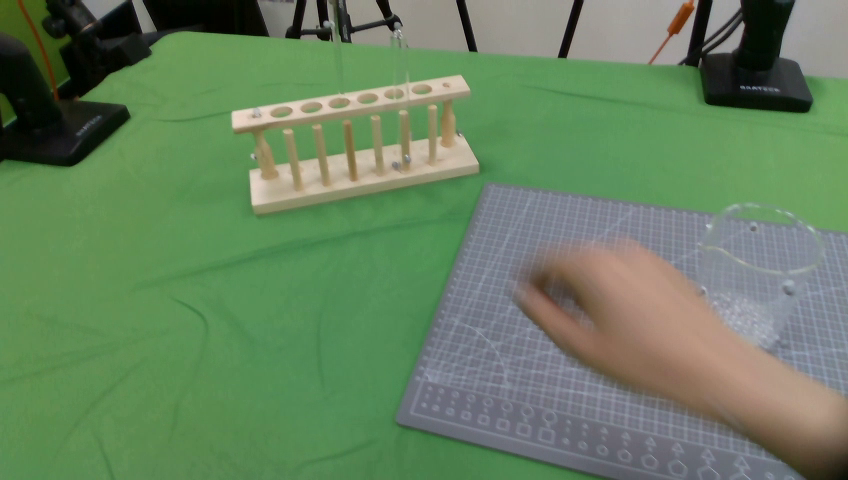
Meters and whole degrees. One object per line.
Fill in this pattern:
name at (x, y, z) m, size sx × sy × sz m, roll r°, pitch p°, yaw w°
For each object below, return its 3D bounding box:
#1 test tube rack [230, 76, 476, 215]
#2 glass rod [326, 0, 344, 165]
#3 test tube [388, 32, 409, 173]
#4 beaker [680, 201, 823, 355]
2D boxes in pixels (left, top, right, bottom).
test tube rack at (-0.070, -0.101, 0.639) m, size 0.243 × 0.086 × 0.066 m, roll -12°, pitch 43°, yaw -9°
glass rod at (-0.090, -0.165, 0.611) m, size 0.008 × 0.201 × 0.008 m, roll 1°, pitch 36°, yaw 0°
test tube at (-0.024, -0.132, 0.602) m, size 0.017 × 0.151 × 0.017 m, roll 0°, pitch 40°, yaw 1°
beaker at (0.237, 0.032, 0.458) m, size 0.084 × 0.101 × 0.073 m, roll -3°, pitch 42°, yaw 2°
